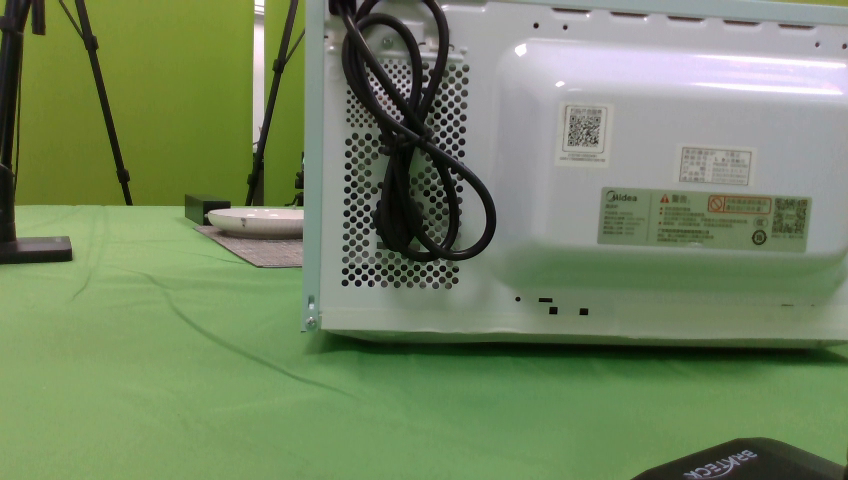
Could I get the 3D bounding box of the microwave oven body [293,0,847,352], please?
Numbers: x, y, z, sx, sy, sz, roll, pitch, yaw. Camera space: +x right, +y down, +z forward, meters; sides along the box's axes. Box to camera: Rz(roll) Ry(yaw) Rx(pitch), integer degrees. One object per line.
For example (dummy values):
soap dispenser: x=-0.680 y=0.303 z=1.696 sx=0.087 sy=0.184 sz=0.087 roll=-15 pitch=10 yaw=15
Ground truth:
microwave oven body: x=0.122 y=-0.055 z=0.550 sx=0.442 sy=0.260 sz=0.325 roll=3 pitch=7 yaw=-5

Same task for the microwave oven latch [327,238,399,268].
microwave oven latch: x=-0.069 y=0.015 z=0.694 sx=0.079 sy=0.029 sz=0.030 roll=3 pitch=7 yaw=-3

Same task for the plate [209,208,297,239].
plate: x=-0.271 y=-0.029 z=1.074 sx=0.208 sy=0.039 sz=0.207 roll=3 pitch=7 yaw=0

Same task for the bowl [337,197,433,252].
bowl: x=-0.062 y=-0.025 z=0.955 sx=0.151 sy=0.077 sz=0.151 roll=3 pitch=8 yaw=0

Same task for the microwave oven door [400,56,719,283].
microwave oven door: x=0.155 y=-0.077 z=0.698 sx=0.356 sy=0.243 sz=0.039 roll=2 pitch=8 yaw=-5
